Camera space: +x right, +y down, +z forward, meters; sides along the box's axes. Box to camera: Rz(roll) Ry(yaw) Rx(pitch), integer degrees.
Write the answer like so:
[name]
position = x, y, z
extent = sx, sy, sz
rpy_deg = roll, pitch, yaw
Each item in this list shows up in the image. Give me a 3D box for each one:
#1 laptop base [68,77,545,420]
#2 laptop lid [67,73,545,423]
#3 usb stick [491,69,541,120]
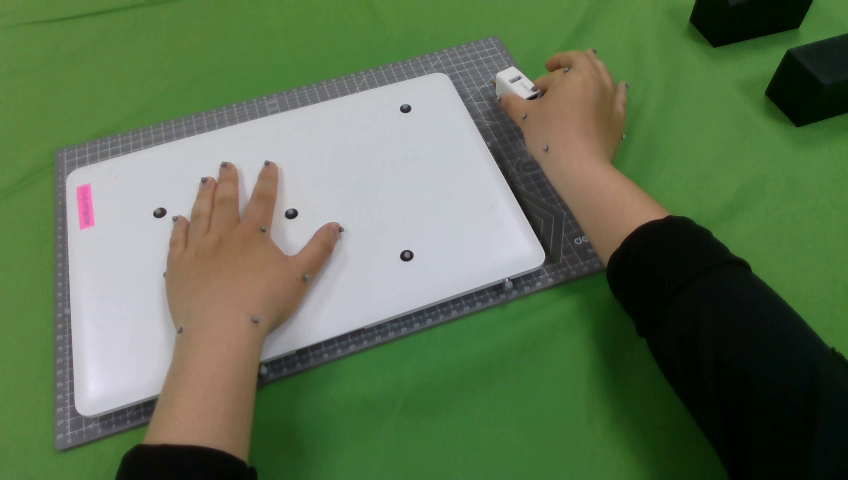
[laptop base]
position = -0.107, -0.014, 0.504
extent = 0.355, 0.023, 0.233
rpy_deg = -18, 60, -9
[laptop lid]
position = -0.107, -0.018, 0.495
extent = 0.357, 0.013, 0.239
rpy_deg = -17, 59, -8
[usb stick]
position = 0.082, -0.139, 0.561
extent = 0.021, 0.027, 0.058
rpy_deg = -30, 50, -12
